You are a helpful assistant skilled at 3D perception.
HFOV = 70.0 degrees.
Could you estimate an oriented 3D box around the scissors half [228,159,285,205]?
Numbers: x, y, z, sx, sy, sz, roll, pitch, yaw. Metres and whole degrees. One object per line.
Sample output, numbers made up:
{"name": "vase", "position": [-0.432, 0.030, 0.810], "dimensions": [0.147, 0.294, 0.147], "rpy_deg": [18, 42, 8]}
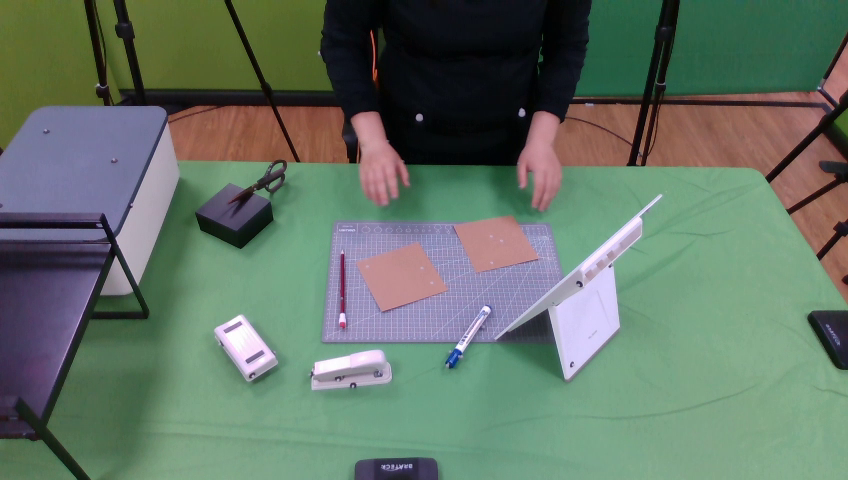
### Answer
{"name": "scissors half", "position": [-0.336, -0.117, 1.218], "dimensions": [0.013, 0.040, 0.175], "rpy_deg": [25, 46, 13]}

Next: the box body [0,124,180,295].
{"name": "box body", "position": [-0.628, -0.075, 1.122], "dimensions": [0.254, 0.161, 0.361], "rpy_deg": [1, 46, -4]}

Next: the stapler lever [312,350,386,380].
{"name": "stapler lever", "position": [-0.120, 0.198, 0.963], "dimensions": [0.118, 0.040, 0.026], "rpy_deg": [-4, 44, -8]}

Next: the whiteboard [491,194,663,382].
{"name": "whiteboard", "position": [0.280, 0.100, 0.969], "dimensions": [0.217, 0.306, 0.143], "rpy_deg": [-33, 77, -31]}

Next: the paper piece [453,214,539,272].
{"name": "paper piece", "position": [0.142, 0.003, 1.213], "dimensions": [0.135, 0.004, 0.135], "rpy_deg": [-11, 47, -14]}

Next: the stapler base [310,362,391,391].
{"name": "stapler base", "position": [-0.119, 0.215, 0.981], "dimensions": [0.131, 0.024, 0.041], "rpy_deg": [-5, 44, -7]}

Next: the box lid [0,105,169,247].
{"name": "box lid", "position": [-0.624, -0.125, 1.067], "dimensions": [0.263, 0.015, 0.369], "rpy_deg": [0, 46, -3]}

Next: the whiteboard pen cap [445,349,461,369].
{"name": "whiteboard pen cap", "position": [0.049, 0.197, 1.011], "dimensions": [0.018, 0.018, 0.033], "rpy_deg": [24, 49, 18]}

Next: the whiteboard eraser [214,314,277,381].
{"name": "whiteboard eraser", "position": [-0.292, 0.176, 0.990], "dimensions": [0.055, 0.042, 0.112], "rpy_deg": [-30, 55, -31]}

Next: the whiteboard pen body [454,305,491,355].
{"name": "whiteboard pen body", "position": [0.079, 0.163, 1.047], "dimensions": [0.017, 0.017, 0.140], "rpy_deg": [25, 50, 19]}

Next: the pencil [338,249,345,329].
{"name": "pencil", "position": [-0.152, 0.085, 1.108], "dimensions": [0.012, 0.012, 0.192], "rpy_deg": [-2, 44, -7]}

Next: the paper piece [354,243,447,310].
{"name": "paper piece", "position": [-0.045, 0.066, 1.137], "dimensions": [0.136, 0.009, 0.137], "rpy_deg": [-14, 47, -22]}

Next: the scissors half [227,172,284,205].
{"name": "scissors half", "position": [-0.339, -0.101, 1.230], "dimensions": [0.013, 0.040, 0.175], "rpy_deg": [21, 28, 17]}
